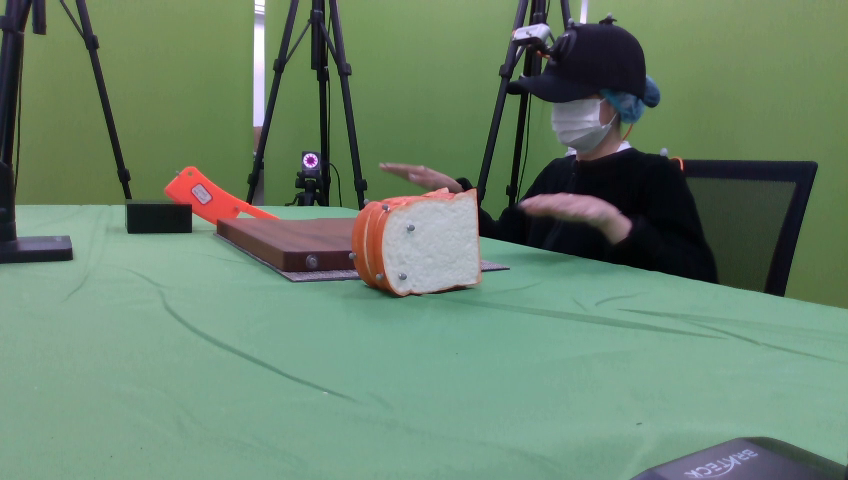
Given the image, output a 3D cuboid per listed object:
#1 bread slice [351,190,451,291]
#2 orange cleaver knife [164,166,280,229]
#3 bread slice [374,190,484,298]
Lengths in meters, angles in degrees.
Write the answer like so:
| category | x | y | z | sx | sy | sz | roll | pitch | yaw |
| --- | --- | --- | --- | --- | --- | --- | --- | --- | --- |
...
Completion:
| category | x | y | z | sx | sy | sz | roll | pitch | yaw |
| --- | --- | --- | --- | --- | --- | --- | --- | --- | --- |
| bread slice | -0.022 | 0.001 | 0.679 | 0.132 | 0.105 | 0.019 | -10 | 10 | -33 |
| orange cleaver knife | -0.370 | -0.061 | 1.121 | 0.212 | 0.077 | 0.012 | 31 | -9 | -29 |
| bread slice | 0.008 | 0.009 | 0.639 | 0.135 | 0.107 | 0.018 | -13 | 9 | -36 |
